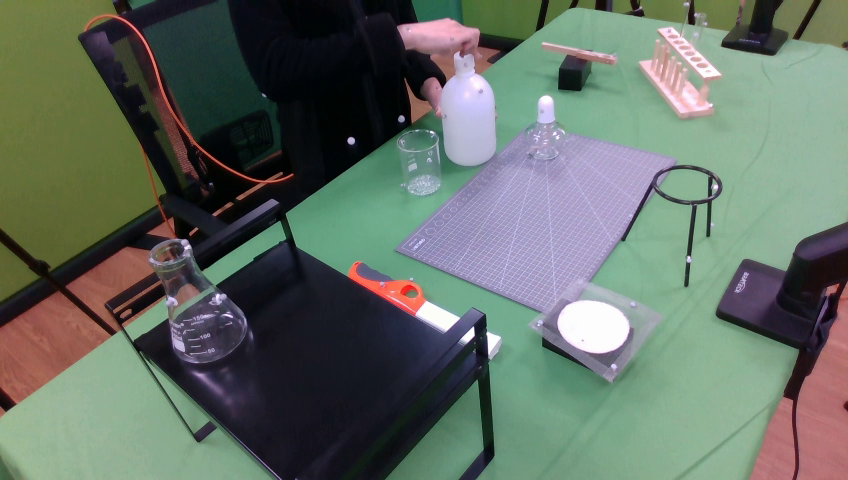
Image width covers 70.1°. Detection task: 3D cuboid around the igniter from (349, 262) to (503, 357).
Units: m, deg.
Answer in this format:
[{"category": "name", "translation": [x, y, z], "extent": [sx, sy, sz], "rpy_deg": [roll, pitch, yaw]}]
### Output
[{"category": "igniter", "translation": [-0.008, 0.093, 0.870], "extent": [0.274, 0.025, 0.057], "rpy_deg": [24, 60, 33]}]

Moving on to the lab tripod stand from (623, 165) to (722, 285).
[{"category": "lab tripod stand", "translation": [0.365, -0.030, 0.874], "extent": [0.148, 0.132, 0.147], "rpy_deg": [-6, 41, 6]}]

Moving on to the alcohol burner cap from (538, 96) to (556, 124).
[{"category": "alcohol burner cap", "translation": [0.222, -0.237, 1.095], "extent": [0.034, 0.048, 0.033], "rpy_deg": [-7, 35, 5]}]

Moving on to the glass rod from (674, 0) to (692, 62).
[{"category": "glass rod", "translation": [0.537, -0.437, 1.257], "extent": [0.008, 0.200, 0.008], "rpy_deg": [0, 39, 1]}]

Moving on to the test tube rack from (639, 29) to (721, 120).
[{"category": "test tube rack", "translation": [0.527, -0.351, 1.262], "extent": [0.067, 0.085, 0.241], "rpy_deg": [-8, 40, 1]}]

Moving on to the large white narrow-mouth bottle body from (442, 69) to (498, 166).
[{"category": "large white narrow-mouth bottle body", "translation": [0.084, -0.242, 1.121], "extent": [0.102, 0.195, 0.101], "rpy_deg": [-4, 40, 4]}]

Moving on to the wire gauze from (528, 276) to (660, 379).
[{"category": "wire gauze", "translation": [0.213, 0.103, 0.763], "extent": [0.124, 0.011, 0.122], "rpy_deg": [30, 52, 35]}]

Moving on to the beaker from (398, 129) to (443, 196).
[{"category": "beaker", "translation": [-0.002, -0.139, 1.087], "extent": [0.073, 0.101, 0.084], "rpy_deg": [28, 52, 35]}]

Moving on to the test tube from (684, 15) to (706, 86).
[{"category": "test tube", "translation": [0.541, -0.378, 1.215], "extent": [0.017, 0.151, 0.017], "rpy_deg": [-2, 44, 3]}]

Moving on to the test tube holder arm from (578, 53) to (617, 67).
[{"category": "test tube holder arm", "translation": [0.376, -0.393, 1.314], "extent": [0.087, 0.015, 0.010], "rpy_deg": [26, 51, 32]}]

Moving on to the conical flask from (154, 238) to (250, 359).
[{"category": "conical flask", "translation": [-0.225, 0.055, 0.597], "extent": [0.075, 0.122, 0.075], "rpy_deg": [-5, 41, 4]}]

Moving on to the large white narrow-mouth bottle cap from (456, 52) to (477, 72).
[{"category": "large white narrow-mouth bottle cap", "translation": [0.075, -0.312, 1.060], "extent": [0.038, 0.024, 0.037], "rpy_deg": [-4, 40, 4]}]

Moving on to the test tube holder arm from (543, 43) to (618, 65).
[{"category": "test tube holder arm", "translation": [0.344, -0.413, 1.340], "extent": [0.177, 0.015, 0.013], "rpy_deg": [25, 50, 31]}]

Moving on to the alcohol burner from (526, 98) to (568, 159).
[{"category": "alcohol burner", "translation": [0.228, -0.210, 1.118], "extent": [0.078, 0.119, 0.077], "rpy_deg": [-5, 43, 5]}]
